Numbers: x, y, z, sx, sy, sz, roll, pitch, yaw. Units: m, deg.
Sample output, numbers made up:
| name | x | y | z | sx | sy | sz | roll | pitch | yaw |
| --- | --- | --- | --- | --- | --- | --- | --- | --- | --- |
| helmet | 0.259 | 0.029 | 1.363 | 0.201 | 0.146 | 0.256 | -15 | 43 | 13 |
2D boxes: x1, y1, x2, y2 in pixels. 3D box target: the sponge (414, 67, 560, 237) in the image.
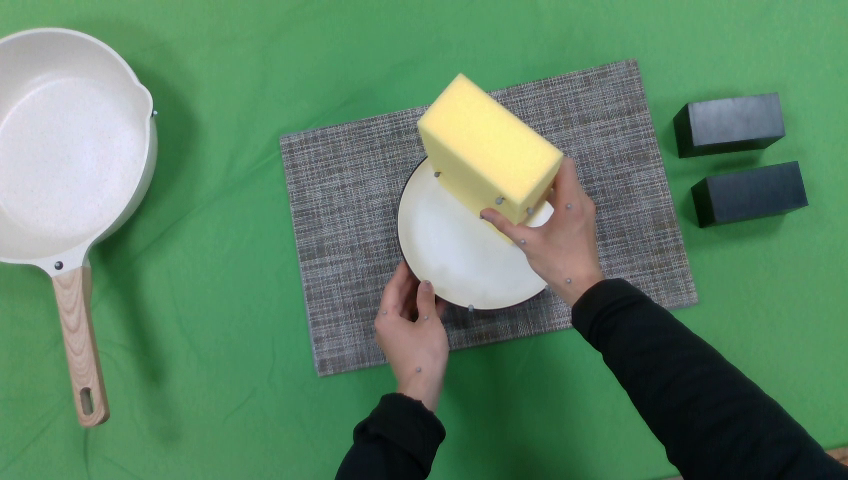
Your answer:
| name | x | y | z | sx | sy | sz | roll | pitch | yaw |
| --- | --- | --- | --- | --- | --- | --- | --- | --- | --- |
| sponge | 0.064 | -0.077 | 0.620 | 0.118 | 0.207 | 0.061 | 39 | 87 | 11 |

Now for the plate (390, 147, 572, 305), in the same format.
| name | x | y | z | sx | sy | sz | roll | pitch | yaw |
| --- | --- | --- | --- | --- | --- | --- | --- | --- | --- |
| plate | 0.065 | -0.026 | 0.708 | 0.207 | 0.039 | 0.207 | -1 | 83 | 5 |

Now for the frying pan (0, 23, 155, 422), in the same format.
| name | x | y | z | sx | sy | sz | roll | pitch | yaw |
| --- | --- | --- | --- | --- | --- | --- | --- | --- | --- |
| frying pan | -0.435 | -0.023 | 0.721 | 0.307 | 0.103 | 0.484 | -19 | 74 | 4 |
